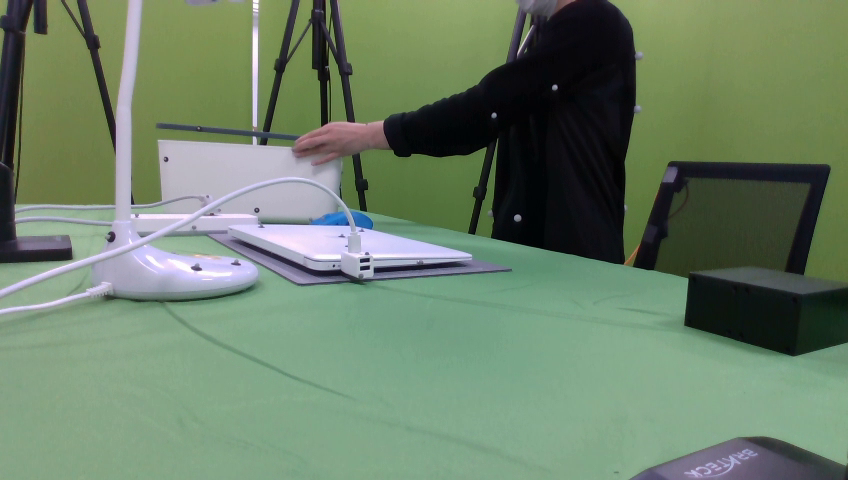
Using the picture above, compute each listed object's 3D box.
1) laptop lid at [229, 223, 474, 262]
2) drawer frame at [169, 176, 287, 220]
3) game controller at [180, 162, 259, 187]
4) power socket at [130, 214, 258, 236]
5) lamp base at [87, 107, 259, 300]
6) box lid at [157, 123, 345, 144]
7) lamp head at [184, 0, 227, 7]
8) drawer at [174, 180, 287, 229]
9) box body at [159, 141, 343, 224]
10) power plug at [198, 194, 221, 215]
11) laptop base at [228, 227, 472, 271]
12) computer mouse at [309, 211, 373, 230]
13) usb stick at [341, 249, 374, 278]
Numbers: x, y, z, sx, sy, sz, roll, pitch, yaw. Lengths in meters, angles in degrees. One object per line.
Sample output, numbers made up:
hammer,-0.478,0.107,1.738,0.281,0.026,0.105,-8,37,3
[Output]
laptop lid,-0.121,0.000,0.888,0.243,0.013,0.355,1,7,-33
drawer frame,-0.416,-0.095,1.318,0.214,0.082,0.201,-4,6,-9
game controller,-0.446,-0.142,1.307,0.156,0.051,0.096,-1,6,-35
power socket,-0.397,-0.028,1.048,0.228,0.032,0.072,-3,7,-35
lamp base,-0.254,-0.039,0.603,0.160,0.180,0.179,5,10,18
box lid,-0.362,-0.229,1.323,0.372,0.015,0.263,4,8,-8
lamp head,-0.229,-0.320,0.627,0.112,0.112,0.123,6,-35,26
drawer,-0.413,-0.080,1.325,0.212,0.073,0.194,-8,11,-8
box body,-0.365,-0.128,1.337,0.365,0.160,0.253,1,7,-8
power plug,-0.386,-0.055,1.088,0.035,0.052,0.072,-2,7,-24
laptop base,-0.124,0.011,0.889,0.237,0.023,0.352,2,6,-35
computer mouse,-0.157,-0.033,1.139,0.118,0.041,0.062,-5,11,-28
usb stick,-0.079,0.026,0.687,0.021,0.027,0.059,-7,9,-30
